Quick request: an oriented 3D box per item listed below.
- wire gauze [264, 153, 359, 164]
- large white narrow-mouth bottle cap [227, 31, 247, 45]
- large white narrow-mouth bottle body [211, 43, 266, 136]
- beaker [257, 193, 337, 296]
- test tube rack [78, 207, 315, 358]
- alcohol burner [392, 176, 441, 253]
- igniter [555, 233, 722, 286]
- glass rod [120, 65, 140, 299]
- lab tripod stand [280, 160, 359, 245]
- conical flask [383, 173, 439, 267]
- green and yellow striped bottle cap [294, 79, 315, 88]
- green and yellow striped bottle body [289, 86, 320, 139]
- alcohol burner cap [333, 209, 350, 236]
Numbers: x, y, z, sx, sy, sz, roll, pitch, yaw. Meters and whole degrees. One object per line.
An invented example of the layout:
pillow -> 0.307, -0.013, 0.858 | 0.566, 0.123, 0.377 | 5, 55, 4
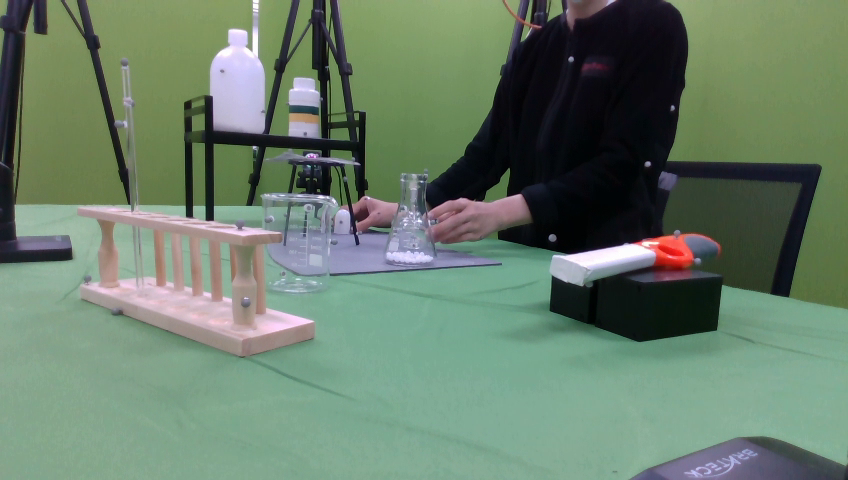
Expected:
wire gauze -> -0.181, -0.130, 0.969 | 0.126, 0.011, 0.121 | -1, 6, -27
large white narrow-mouth bottle cap -> -0.361, -0.388, 1.165 | 0.038, 0.024, 0.037 | 1, 7, 0
large white narrow-mouth bottle body -> -0.361, -0.302, 1.176 | 0.102, 0.194, 0.102 | 1, 7, 0
beaker -> -0.130, 0.004, 0.628 | 0.084, 0.100, 0.074 | 5, 8, 15
test tube rack -> -0.196, 0.023, 0.500 | 0.241, 0.085, 0.067 | 8, 9, 37
alcohol burner -> -0.012, -0.041, 0.944 | 0.078, 0.119, 0.078 | 1, 6, 0
igniter -> 0.214, 0.015, 0.570 | 0.278, 0.025, 0.057 | -6, 22, -44
glass rod -> -0.249, -0.047, 0.513 | 0.008, 0.199, 0.008 | -1, 4, 0
lab tripod stand -> -0.176, -0.062, 0.973 | 0.148, 0.131, 0.148 | 1, 7, 0
conical flask -> -0.016, -0.028, 0.808 | 0.075, 0.122, 0.075 | 2, 8, 0
green and yellow striped bottle cap -> -0.248, -0.323, 1.256 | 0.045, 0.020, 0.045 | 3, 9, 0
green and yellow striped bottle body -> -0.250, -0.272, 1.261 | 0.063, 0.119, 0.063 | 3, 7, 0
alcohol burner cap -> -0.151, -0.033, 1.116 | 0.034, 0.048, 0.034 | 4, 7, 0
